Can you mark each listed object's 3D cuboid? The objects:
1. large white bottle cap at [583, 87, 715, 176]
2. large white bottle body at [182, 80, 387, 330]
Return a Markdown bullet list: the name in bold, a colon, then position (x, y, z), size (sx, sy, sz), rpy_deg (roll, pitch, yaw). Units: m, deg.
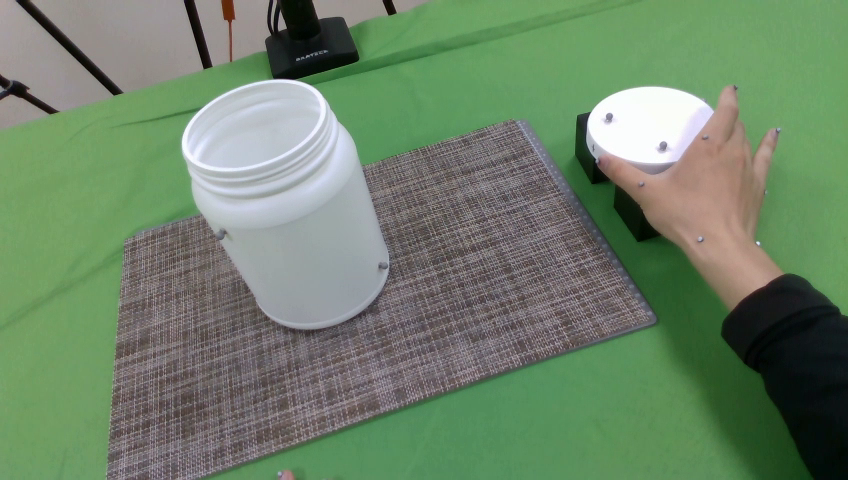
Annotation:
- **large white bottle cap**: position (0.207, -0.103, 0.560), size (0.115, 0.018, 0.113), rpy_deg (-6, 47, 7)
- **large white bottle body**: position (-0.110, -0.025, 0.507), size (0.130, 0.186, 0.129), rpy_deg (-5, 48, 6)
